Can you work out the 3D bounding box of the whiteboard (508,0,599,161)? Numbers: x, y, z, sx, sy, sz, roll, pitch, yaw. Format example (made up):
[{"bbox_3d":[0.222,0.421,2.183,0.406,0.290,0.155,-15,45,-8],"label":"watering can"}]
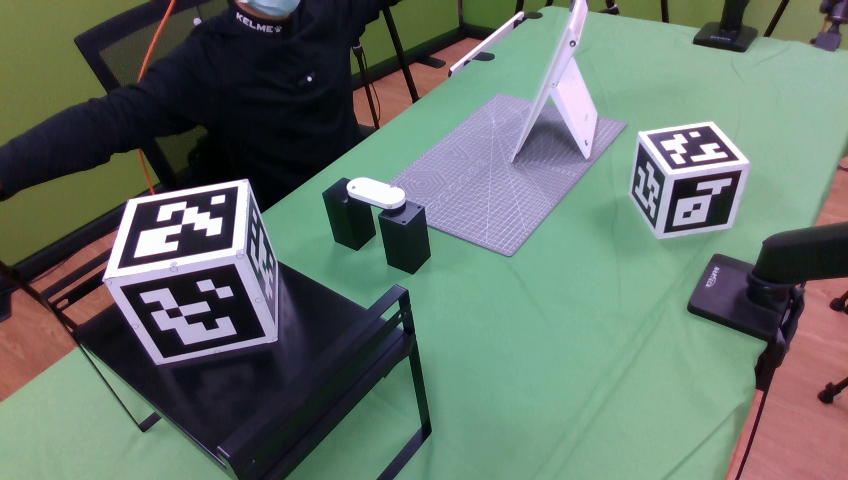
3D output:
[{"bbox_3d":[0.285,-0.290,1.088,0.144,0.305,0.217,22,45,3],"label":"whiteboard"}]

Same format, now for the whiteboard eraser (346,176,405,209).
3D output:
[{"bbox_3d":[-0.073,-0.072,0.909,0.100,0.019,0.041,20,49,29],"label":"whiteboard eraser"}]
